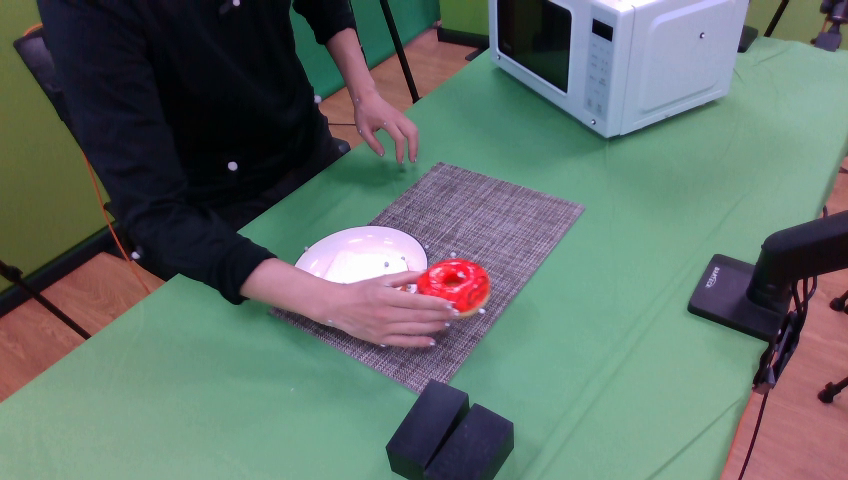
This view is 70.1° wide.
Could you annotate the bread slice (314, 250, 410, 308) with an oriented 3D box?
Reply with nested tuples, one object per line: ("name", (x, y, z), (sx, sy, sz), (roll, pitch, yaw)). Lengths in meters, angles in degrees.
("bread slice", (-0.087, 0.056, 0.900), (0.131, 0.019, 0.104), (5, 42, 14))

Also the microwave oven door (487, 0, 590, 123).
("microwave oven door", (0.232, -0.420, 1.230), (0.039, 0.245, 0.352), (-22, 43, -16))

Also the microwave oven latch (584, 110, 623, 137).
("microwave oven latch", (0.337, -0.222, 1.142), (0.030, 0.029, 0.078), (-21, 42, -14))

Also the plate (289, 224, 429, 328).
("plate", (-0.094, 0.055, 0.902), (0.207, 0.039, 0.206), (-4, 40, 4))

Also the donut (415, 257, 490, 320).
("donut", (0.037, 0.063, 0.794), (0.099, 0.048, 0.098), (-1, 41, 2))

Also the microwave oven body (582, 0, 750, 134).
("microwave oven body", (0.382, -0.445, 1.246), (0.327, 0.261, 0.437), (-22, 42, -16))
